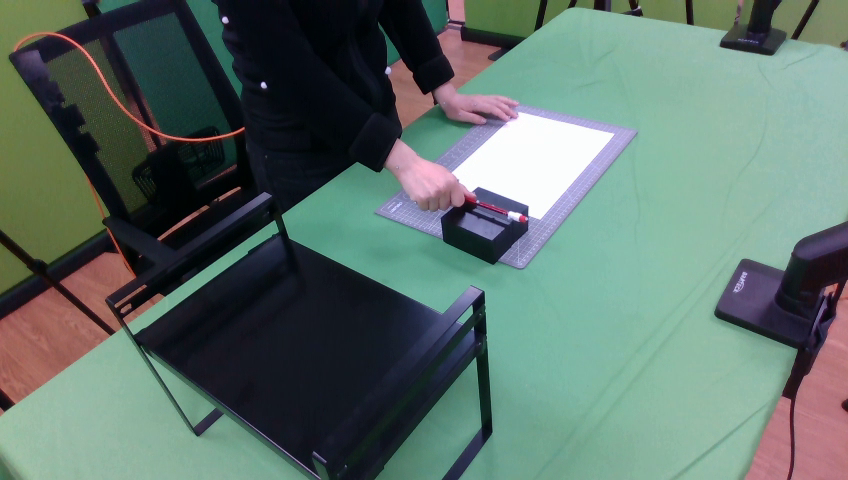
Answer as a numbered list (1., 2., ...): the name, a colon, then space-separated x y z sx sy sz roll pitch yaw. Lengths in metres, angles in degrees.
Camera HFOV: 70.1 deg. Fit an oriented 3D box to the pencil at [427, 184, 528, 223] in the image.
1. pencil: 0.079 -0.061 0.949 0.192 0.012 0.012 23 49 33
